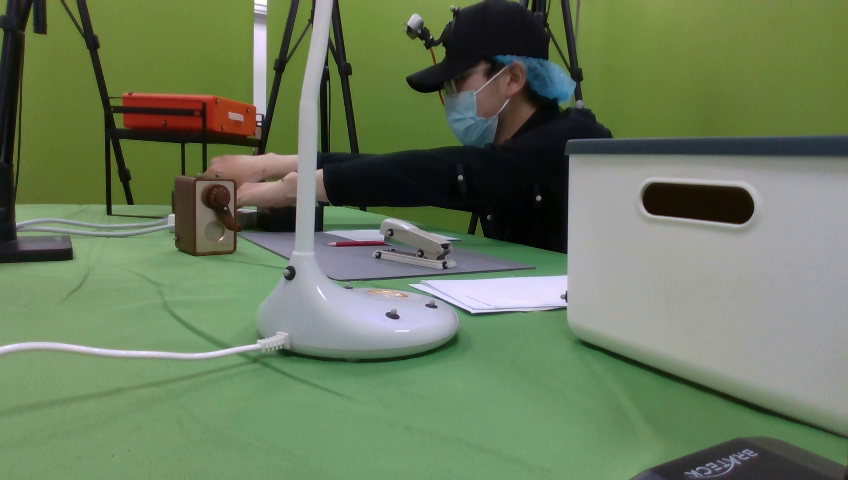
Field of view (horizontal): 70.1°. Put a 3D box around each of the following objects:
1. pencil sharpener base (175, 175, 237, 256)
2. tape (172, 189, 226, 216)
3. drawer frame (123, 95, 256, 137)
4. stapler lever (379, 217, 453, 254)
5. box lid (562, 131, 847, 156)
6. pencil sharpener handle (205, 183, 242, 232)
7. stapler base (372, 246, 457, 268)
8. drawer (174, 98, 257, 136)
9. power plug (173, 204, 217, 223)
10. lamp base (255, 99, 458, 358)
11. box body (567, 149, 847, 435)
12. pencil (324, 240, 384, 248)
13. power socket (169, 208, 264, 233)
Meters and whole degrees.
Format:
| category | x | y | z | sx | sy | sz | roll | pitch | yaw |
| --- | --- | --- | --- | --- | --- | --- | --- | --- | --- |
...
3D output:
| category | x | y | z | sx | sy | sz | roll | pitch | yaw |
| --- | --- | --- | --- | --- | --- | --- | --- | --- | --- |
| pencil sharpener base | -0.304 | -0.035 | 0.847 | 0.062 | 0.107 | 0.076 | -4 | 10 | -42 |
| tape | -0.515 | -0.087 | 1.388 | 0.117 | 0.052 | 0.117 | 3 | 8 | 0 |
| drawer frame | -0.524 | -0.281 | 1.376 | 0.213 | 0.082 | 0.202 | 3 | 8 | 8 |
| stapler lever | -0.013 | -0.007 | 0.828 | 0.117 | 0.040 | 0.027 | 9 | 11 | 39 |
| box lid | 0.322 | -0.064 | 0.463 | 0.373 | 0.015 | 0.262 | -2 | 9 | -31 |
| pencil sharpener handle | -0.265 | -0.043 | 0.812 | 0.036 | 0.068 | 0.030 | -32 | 28 | -35 |
| stapler base | -0.016 | 0.017 | 0.831 | 0.130 | 0.024 | 0.041 | 10 | 12 | 39 |
| drawer | -0.518 | -0.279 | 1.376 | 0.211 | 0.073 | 0.195 | 3 | 8 | 9 |
| power plug | -0.449 | -0.042 | 1.195 | 0.052 | 0.072 | 0.035 | 34 | -25 | 12 |
| lamp base | -0.056 | -0.013 | 0.462 | 0.160 | 0.180 | 0.180 | 6 | 11 | 27 |
| box body | 0.318 | 0.009 | 0.471 | 0.366 | 0.160 | 0.253 | -2 | 8 | -31 |
| pencil | -0.067 | 0.004 | 0.981 | 0.195 | 0.012 | 0.012 | -4 | 9 | -23 |
| power socket | -0.381 | -0.038 | 1.130 | 0.072 | 0.032 | 0.227 | 4 | 8 | 16 |
